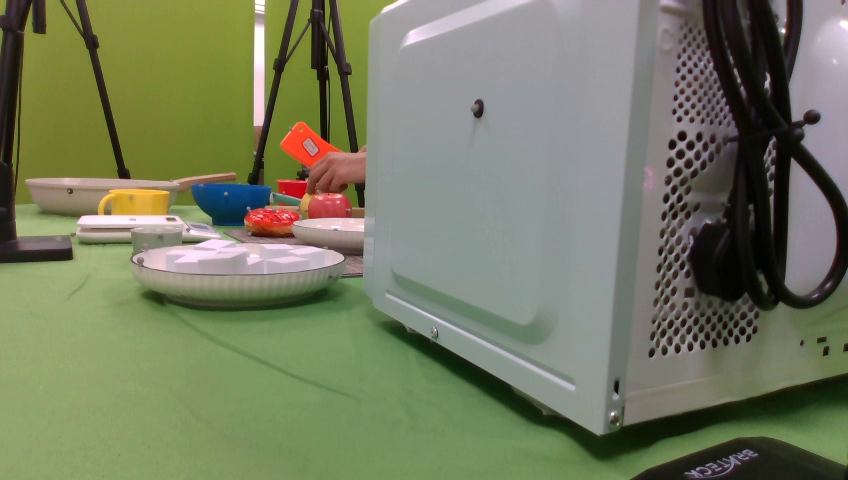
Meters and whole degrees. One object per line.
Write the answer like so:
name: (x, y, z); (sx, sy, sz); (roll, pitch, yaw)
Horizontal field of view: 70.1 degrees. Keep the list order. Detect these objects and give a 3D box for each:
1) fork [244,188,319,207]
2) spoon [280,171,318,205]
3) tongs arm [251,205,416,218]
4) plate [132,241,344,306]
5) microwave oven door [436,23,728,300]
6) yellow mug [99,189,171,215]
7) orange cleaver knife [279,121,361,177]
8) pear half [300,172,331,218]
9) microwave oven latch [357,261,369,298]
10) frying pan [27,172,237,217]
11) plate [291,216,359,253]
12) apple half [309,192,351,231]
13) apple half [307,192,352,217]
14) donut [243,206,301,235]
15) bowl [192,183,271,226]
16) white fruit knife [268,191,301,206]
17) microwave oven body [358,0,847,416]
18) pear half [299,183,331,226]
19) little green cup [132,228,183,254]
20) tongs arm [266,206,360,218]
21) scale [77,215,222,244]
fork: (-0.356, -0.105, 1.526); (0.208, 0.018, 0.028); (16, -6, -41)
spoon: (-0.316, -0.159, 1.640); (0.194, 0.022, 0.041); (-50, 32, -20)
tongs arm: (-0.210, -0.067, 1.439); (0.389, 0.027, 0.028); (0, -1, -17)
plate: (-0.187, 0.033, 0.625); (0.208, 0.039, 0.207); (2, 7, 0)
microwave oven door: (0.180, -0.073, 0.621); (0.358, 0.243, 0.039); (-2, 9, -29)
yellow mug: (-0.519, -0.055, 1.080); (0.099, 0.064, 0.131); (7, 9, 26)
orange cleaver knife: (-0.197, -0.172, 1.243); (0.212, 0.077, 0.012); (26, -2, -37)
pear half: (-0.204, -0.079, 1.205); (0.077, 0.110, 0.055); (-12, 15, -42)
microwave oven latch: (-0.019, 0.033, 0.530); (0.079, 0.029, 0.030); (-1, 7, -26)
frying pan: (-0.624, -0.118, 1.387); (0.305, 0.102, 0.490); (8, 17, 32)
plate: (-0.103, -0.009, 0.945); (0.209, 0.038, 0.209); (2, 8, 0)
apple half: (-0.172, -0.055, 1.125); (0.081, 0.081, 0.033); (2, 10, 2)
apple half: (-0.174, -0.049, 1.087); (0.081, 0.074, 0.053); (6, 10, 2)
donut: (-0.261, -0.032, 1.043); (0.099, 0.048, 0.099); (3, 9, 0)
bowl: (-0.382, -0.070, 1.202); (0.151, 0.077, 0.151); (3, 7, 0)
white fruit knife: (-0.364, -0.105, 1.464); (0.208, 0.027, 0.016); (15, -1, -34)
microwave oven body: (0.211, -0.047, 0.475); (0.444, 0.260, 0.324); (-1, 7, -28)
pear half: (-0.227, -0.074, 1.233); (0.071, 0.088, 0.031); (-10, 15, -43)
little green cup: (-0.342, 0.006, 0.779); (0.061, 0.038, 0.061); (2, 8, 0)
tongs arm: (-0.173, -0.061, 1.362); (0.387, 0.026, 0.050); (-1, 3, -31)
scale: (-0.434, -0.019, 0.963); (0.202, 0.031, 0.148); (-1, 8, -27)
